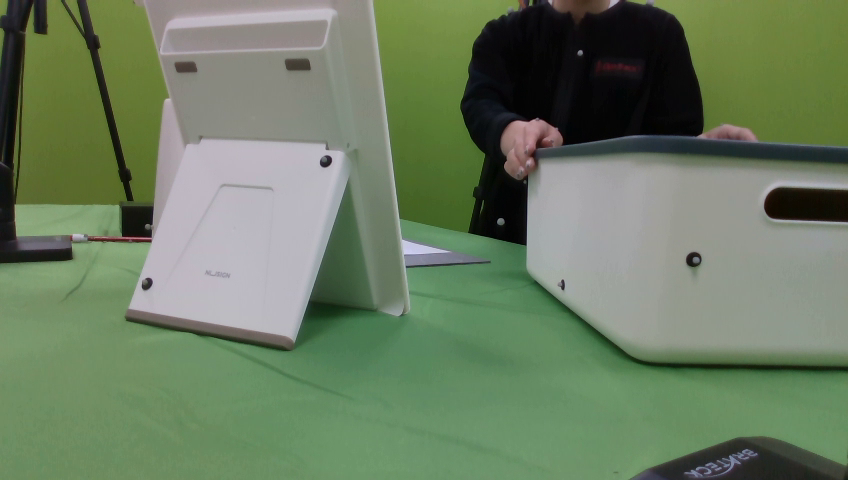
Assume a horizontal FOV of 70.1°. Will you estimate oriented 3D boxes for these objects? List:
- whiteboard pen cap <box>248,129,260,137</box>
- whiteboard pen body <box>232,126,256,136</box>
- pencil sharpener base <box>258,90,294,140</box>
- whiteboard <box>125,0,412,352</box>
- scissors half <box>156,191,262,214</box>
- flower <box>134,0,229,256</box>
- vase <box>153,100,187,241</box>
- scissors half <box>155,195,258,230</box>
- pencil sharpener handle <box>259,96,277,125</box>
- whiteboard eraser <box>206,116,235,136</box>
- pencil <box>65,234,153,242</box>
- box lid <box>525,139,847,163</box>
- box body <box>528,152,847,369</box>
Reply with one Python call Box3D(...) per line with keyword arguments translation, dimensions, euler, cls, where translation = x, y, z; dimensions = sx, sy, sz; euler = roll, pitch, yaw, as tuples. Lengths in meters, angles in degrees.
Box3D(translation=(-0.373, -0.235, 1.326), dimensions=(0.018, 0.018, 0.033), euler=(-3, 12, -35), cls="whiteboard pen cap")
Box3D(translation=(-0.407, -0.247, 1.372), dimensions=(0.017, 0.017, 0.140), euler=(-3, 13, -35), cls="whiteboard pen body")
Box3D(translation=(-0.341, -0.285, 1.388), dimensions=(0.062, 0.107, 0.076), euler=(-3, 9, -36), cls="pencil sharpener base")
Box3D(translation=(-0.151, -0.049, 0.472), dimensions=(0.216, 0.305, 0.144), euler=(6, 27, 24), cls="whiteboard")
Box3D(translation=(-0.371, -0.068, 1.051), dimensions=(0.176, 0.040, 0.013), euler=(2, 25, -24), cls="scissors half")
Box3D(translation=(-0.282, -0.146, 0.713), dimensions=(0.038, 0.362, 0.044), euler=(-23, 23, -30), cls="flower")
Box3D(translation=(-0.278, -0.066, 0.736), dimensions=(0.098, 0.200, 0.098), euler=(2, 9, 0), cls="vase")
Box3D(translation=(-0.378, -0.051, 1.058), dimensions=(0.176, 0.040, 0.012), euler=(20, 21, -31), cls="scissors half")
Box3D(translation=(-0.373, -0.304, 1.425), dimensions=(0.036, 0.067, 0.030), euler=(13, -1, -37), cls="pencil sharpener handle")
Box3D(translation=(-0.449, -0.251, 1.335), dimensions=(0.056, 0.042, 0.112), euler=(1, 7, -22), cls="whiteboard eraser")
Box3D(translation=(-0.429, -0.001, 0.911), dimensions=(0.195, 0.012, 0.012), euler=(1, 8, -19), cls="pencil")
Box3D(translation=(0.261, -0.078, 0.580), dimensions=(0.264, 0.015, 0.371), euler=(2, 7, -4), cls="box lid")
Box3D(translation=(0.258, -0.005, 0.591), dimensions=(0.254, 0.160, 0.363), euler=(2, 7, -4), cls="box body")
